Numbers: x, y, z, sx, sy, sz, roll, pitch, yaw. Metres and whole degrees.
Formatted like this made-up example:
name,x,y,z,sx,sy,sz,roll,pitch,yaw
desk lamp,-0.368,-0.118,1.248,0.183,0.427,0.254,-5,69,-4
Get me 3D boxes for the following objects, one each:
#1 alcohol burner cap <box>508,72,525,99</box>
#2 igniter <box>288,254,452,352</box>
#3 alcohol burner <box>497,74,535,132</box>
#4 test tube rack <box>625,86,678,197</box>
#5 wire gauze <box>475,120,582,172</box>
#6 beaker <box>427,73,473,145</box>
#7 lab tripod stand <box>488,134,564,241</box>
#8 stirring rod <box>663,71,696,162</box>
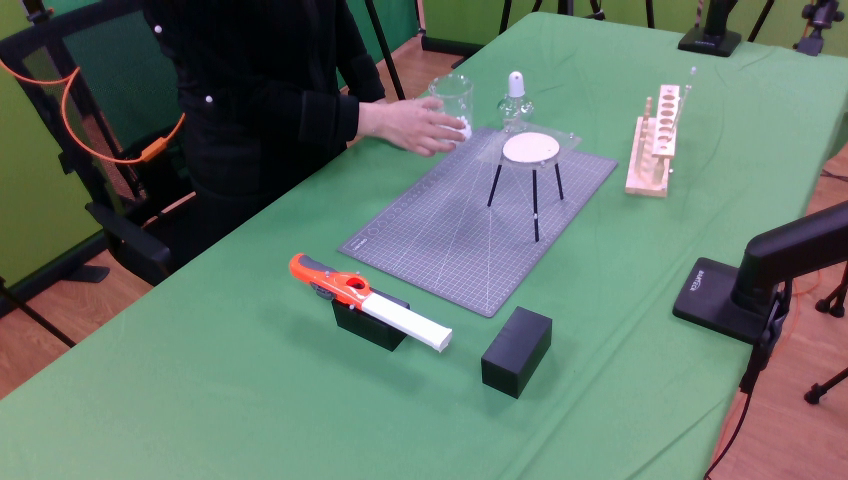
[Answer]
name,x,y,z,sx,sy,sz,roll,pitch,yaw
alcohol burner cap,0.181,-0.306,1.186,0.034,0.048,0.033,-7,39,6
igniter,-0.083,0.079,0.818,0.274,0.025,0.057,23,46,27
alcohol burner,0.184,-0.279,1.210,0.078,0.119,0.077,-3,42,3
test tube rack,0.412,-0.184,1.088,0.066,0.085,0.242,9,43,18
wire gauze,0.161,-0.143,0.928,0.120,0.011,0.125,20,47,30
beaker,0.048,-0.219,1.016,0.073,0.100,0.084,28,52,31
lab tripod stand,0.168,-0.092,0.972,0.148,0.132,0.147,-5,41,5
stirring rod,0.410,-0.195,0.981,0.014,0.177,0.006,11,50,13
